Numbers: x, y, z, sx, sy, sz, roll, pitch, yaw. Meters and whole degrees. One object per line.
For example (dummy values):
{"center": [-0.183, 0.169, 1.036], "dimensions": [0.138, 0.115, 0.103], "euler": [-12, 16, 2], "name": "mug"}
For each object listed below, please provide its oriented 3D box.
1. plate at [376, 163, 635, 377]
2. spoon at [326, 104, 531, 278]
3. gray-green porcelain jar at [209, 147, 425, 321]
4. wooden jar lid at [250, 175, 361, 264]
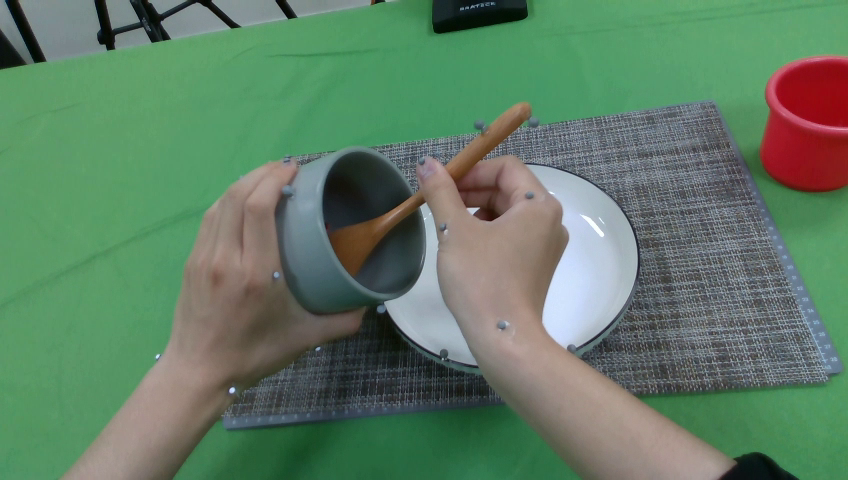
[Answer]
{"center": [0.062, 0.022, 0.494], "dimensions": [0.207, 0.039, 0.205], "euler": [-7, 50, 8], "name": "plate"}
{"center": [-0.010, -0.024, 0.388], "dimensions": [0.194, 0.022, 0.041], "euler": [-36, 62, 22], "name": "spoon"}
{"center": [-0.080, 0.001, 0.434], "dimensions": [0.126, 0.107, 0.105], "euler": [-14, 44, 35], "name": "gray-green porcelain jar"}
{"center": [-0.112, -0.018, 0.582], "dimensions": [0.108, 0.021, 0.107], "euler": [-6, 49, 7], "name": "wooden jar lid"}
